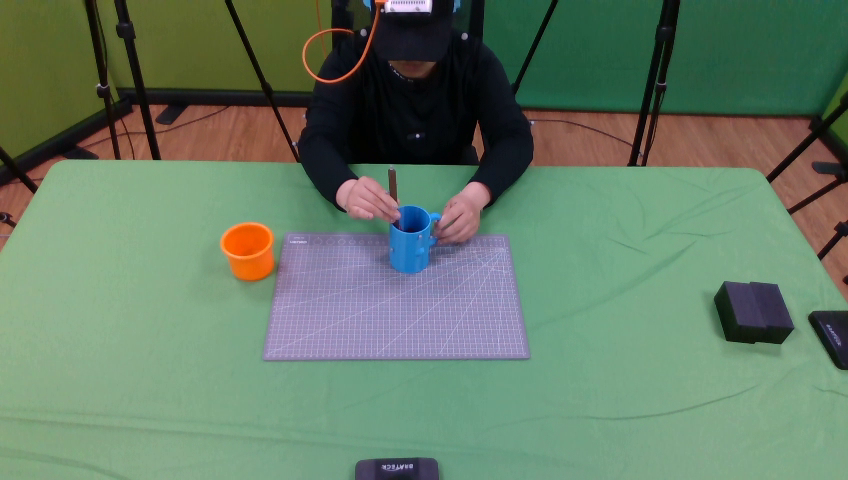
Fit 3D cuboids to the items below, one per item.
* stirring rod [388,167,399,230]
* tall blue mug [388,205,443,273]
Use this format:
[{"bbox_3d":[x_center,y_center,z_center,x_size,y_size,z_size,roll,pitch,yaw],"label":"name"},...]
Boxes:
[{"bbox_3d":[-0.053,-0.051,1.072,0.014,0.177,0.006,14,41,19],"label":"stirring rod"},{"bbox_3d":[-0.020,-0.010,1.144,0.077,0.108,0.107,23,48,18],"label":"tall blue mug"}]
